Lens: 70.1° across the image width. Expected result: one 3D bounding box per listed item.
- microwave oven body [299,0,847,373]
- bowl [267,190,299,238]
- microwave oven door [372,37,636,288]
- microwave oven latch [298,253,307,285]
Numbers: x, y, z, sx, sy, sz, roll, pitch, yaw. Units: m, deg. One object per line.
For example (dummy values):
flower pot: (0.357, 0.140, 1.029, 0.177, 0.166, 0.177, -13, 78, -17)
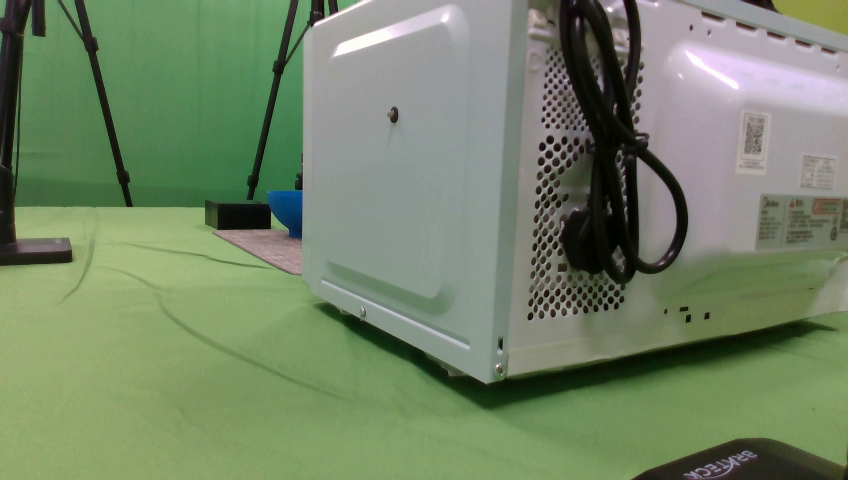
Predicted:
microwave oven body: (0.151, -0.055, 0.543, 0.444, 0.260, 0.324, -2, 7, -33)
bowl: (-0.202, -0.046, 1.070, 0.151, 0.077, 0.151, 3, 7, 0)
microwave oven door: (0.110, -0.080, 0.686, 0.358, 0.243, 0.039, -2, 9, -33)
microwave oven latch: (-0.081, 0.027, 0.583, 0.079, 0.029, 0.030, -1, 7, -32)
